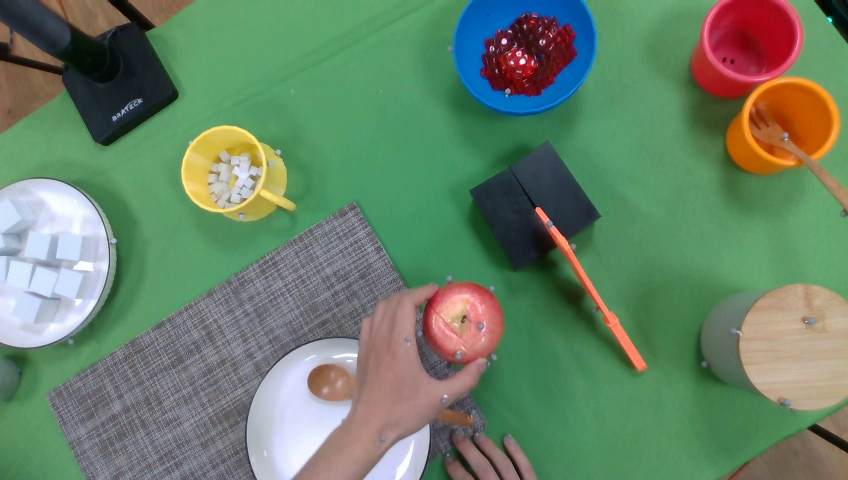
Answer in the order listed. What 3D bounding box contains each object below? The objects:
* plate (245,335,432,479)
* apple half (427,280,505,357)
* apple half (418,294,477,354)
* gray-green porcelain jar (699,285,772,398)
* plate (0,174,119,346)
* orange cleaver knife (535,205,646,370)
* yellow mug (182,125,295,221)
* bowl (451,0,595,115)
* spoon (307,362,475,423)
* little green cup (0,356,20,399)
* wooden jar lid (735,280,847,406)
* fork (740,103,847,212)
[{"bbox_3d":[-0.093,0.209,0.673,0.209,0.038,0.208,-1,85,7],"label":"plate"},{"bbox_3d":[0.049,0.070,0.595,0.080,0.075,0.053,43,89,19],"label":"apple half"},{"bbox_3d":[0.025,0.087,0.591,0.081,0.081,0.033,35,109,10],"label":"apple half"},{"bbox_3d":[0.334,0.097,0.588,0.106,0.127,0.105,-1,84,7],"label":"gray-green porcelain jar"},{"bbox_3d":[-0.467,0.024,0.744,0.207,0.039,0.207,-1,84,7],"label":"plate"},{"bbox_3d":[0.174,0.051,0.631,0.012,0.076,0.213,-34,114,7],"label":"orange cleaver knife"},{"bbox_3d":[-0.207,-0.069,0.705,0.130,0.064,0.100,29,88,8],"label":"yellow mug"},{"bbox_3d":[0.107,-0.203,0.671,0.151,0.077,0.151,-1,85,7],"label":"bowl"},{"bbox_3d":[-0.039,0.171,0.656,0.193,0.022,0.041,10,80,20],"label":"spoon"},{"bbox_3d":[-0.528,0.168,0.736,0.061,0.039,0.061,-1,84,5],"label":"little green cup"},{"bbox_3d":[0.325,0.089,0.527,0.108,0.021,0.108,0,86,6],"label":"wooden jar lid"},{"bbox_3d":[0.367,-0.078,0.588,0.028,0.019,0.205,-10,39,0],"label":"fork"}]
